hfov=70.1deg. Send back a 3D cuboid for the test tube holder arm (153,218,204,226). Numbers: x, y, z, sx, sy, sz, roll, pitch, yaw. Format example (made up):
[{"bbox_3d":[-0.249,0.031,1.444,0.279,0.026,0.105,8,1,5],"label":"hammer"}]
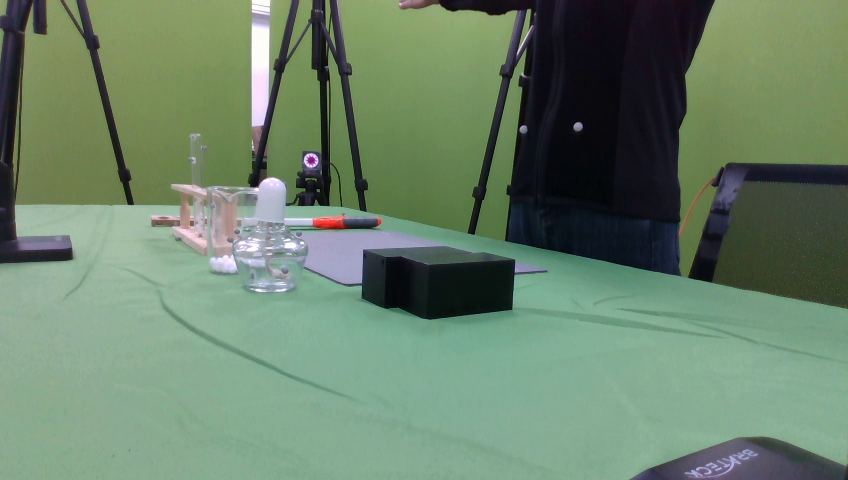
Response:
[{"bbox_3d":[-0.459,-0.034,1.132,0.088,0.015,0.010,-1,42,-30],"label":"test tube holder arm"}]

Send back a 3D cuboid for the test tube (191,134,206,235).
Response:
[{"bbox_3d":[-0.336,-0.083,0.903,0.017,0.150,0.017,-1,5,0],"label":"test tube"}]

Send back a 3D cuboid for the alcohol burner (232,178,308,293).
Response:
[{"bbox_3d":[-0.161,-0.006,0.632,0.078,0.119,0.078,1,9,0],"label":"alcohol burner"}]

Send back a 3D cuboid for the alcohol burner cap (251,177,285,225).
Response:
[{"bbox_3d":[-0.160,-0.041,0.628,0.034,0.048,0.034,9,6,-1],"label":"alcohol burner cap"}]

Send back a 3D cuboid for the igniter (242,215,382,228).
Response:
[{"bbox_3d":[-0.213,-0.036,1.186,0.278,0.025,0.057,-2,-1,-31],"label":"igniter"}]

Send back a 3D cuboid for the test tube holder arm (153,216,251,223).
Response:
[{"bbox_3d":[-0.422,-0.038,1.159,0.179,0.015,0.013,-2,43,-31],"label":"test tube holder arm"}]

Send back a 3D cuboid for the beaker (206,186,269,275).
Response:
[{"bbox_3d":[-0.220,-0.012,0.717,0.074,0.100,0.084,2,8,-3],"label":"beaker"}]

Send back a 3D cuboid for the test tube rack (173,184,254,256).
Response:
[{"bbox_3d":[-0.328,-0.036,0.927,0.067,0.085,0.241,-2,9,-32],"label":"test tube rack"}]
